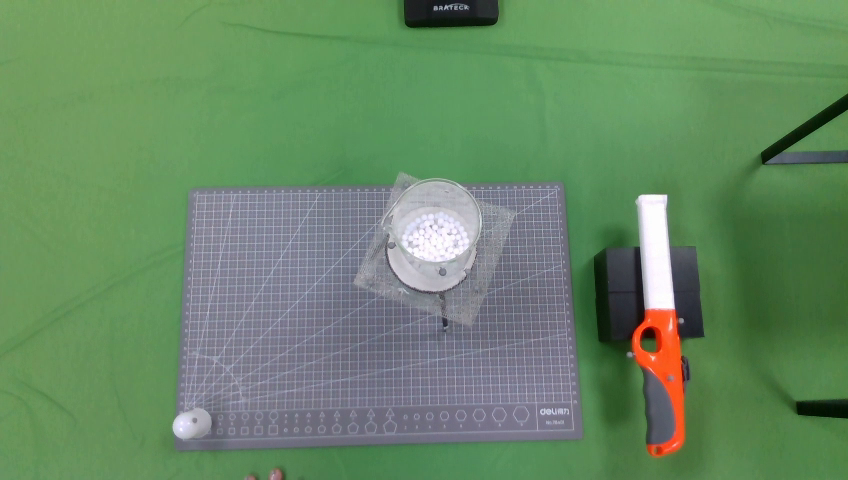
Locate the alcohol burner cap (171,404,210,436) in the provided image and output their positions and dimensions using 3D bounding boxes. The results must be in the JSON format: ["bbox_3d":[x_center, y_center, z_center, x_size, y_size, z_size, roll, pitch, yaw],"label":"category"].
[{"bbox_3d":[-0.253,0.194,0.649,0.034,0.048,0.033,0,78,-2],"label":"alcohol burner cap"}]

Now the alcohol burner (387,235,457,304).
[{"bbox_3d":[-0.002,0.029,0.653,0.078,0.119,0.077,0,79,0],"label":"alcohol burner"}]

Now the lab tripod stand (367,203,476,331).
[{"bbox_3d":[0.006,0.018,0.646,0.148,0.132,0.147,0,76,-1],"label":"lab tripod stand"}]

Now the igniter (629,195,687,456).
[{"bbox_3d":[0.246,0.086,0.646,0.057,0.025,0.275,1,77,2],"label":"igniter"}]

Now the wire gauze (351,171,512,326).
[{"bbox_3d":[0.009,0.007,0.581,0.121,0.011,0.124,22,75,1],"label":"wire gauze"}]

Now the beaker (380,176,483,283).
[{"bbox_3d":[0.006,-0.004,0.534,0.084,0.100,0.073,-1,76,0],"label":"beaker"}]
